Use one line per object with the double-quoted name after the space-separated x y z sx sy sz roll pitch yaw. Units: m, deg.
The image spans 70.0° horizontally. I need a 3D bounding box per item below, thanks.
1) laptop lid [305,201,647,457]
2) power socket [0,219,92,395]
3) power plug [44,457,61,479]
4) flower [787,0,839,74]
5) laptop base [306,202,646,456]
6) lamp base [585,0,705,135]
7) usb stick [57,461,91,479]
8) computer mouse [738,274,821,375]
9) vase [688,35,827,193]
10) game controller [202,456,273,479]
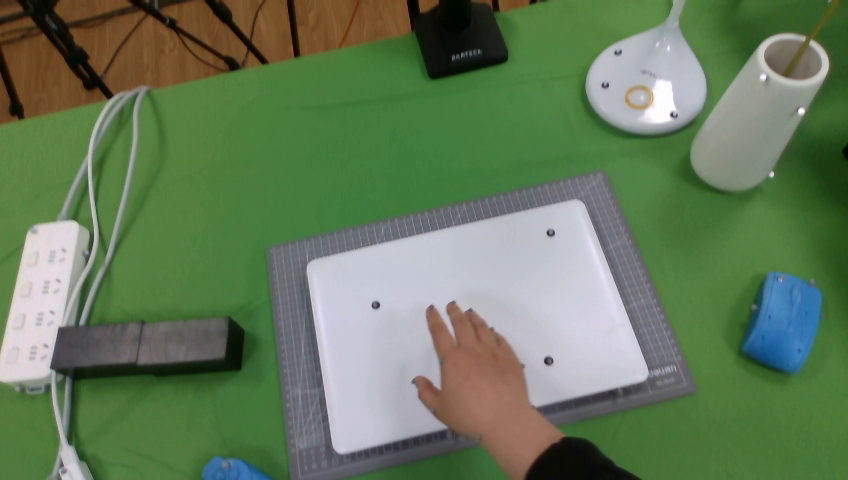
0.050 0.091 0.697 0.357 0.013 0.239 -12 67 -1 "laptop lid"
-0.466 0.074 0.748 0.072 0.033 0.224 -6 64 1 "power socket"
-0.420 0.279 0.655 0.052 0.035 0.072 -20 27 20 "power plug"
0.383 -0.185 0.625 0.038 0.364 0.043 -18 53 -23 "flower"
0.050 0.094 0.708 0.354 0.023 0.233 -13 68 -2 "laptop base"
0.301 -0.255 0.767 0.160 0.182 0.178 18 64 13 "lamp base"
-0.369 0.269 0.649 0.021 0.027 0.059 -30 73 -20 "usb stick"
0.398 0.090 0.673 0.062 0.041 0.117 25 64 19 "computer mouse"
0.375 -0.138 0.694 0.098 0.201 0.097 -3 63 5 "vase"
-0.220 0.297 0.617 0.096 0.052 0.155 34 71 21 "game controller"
